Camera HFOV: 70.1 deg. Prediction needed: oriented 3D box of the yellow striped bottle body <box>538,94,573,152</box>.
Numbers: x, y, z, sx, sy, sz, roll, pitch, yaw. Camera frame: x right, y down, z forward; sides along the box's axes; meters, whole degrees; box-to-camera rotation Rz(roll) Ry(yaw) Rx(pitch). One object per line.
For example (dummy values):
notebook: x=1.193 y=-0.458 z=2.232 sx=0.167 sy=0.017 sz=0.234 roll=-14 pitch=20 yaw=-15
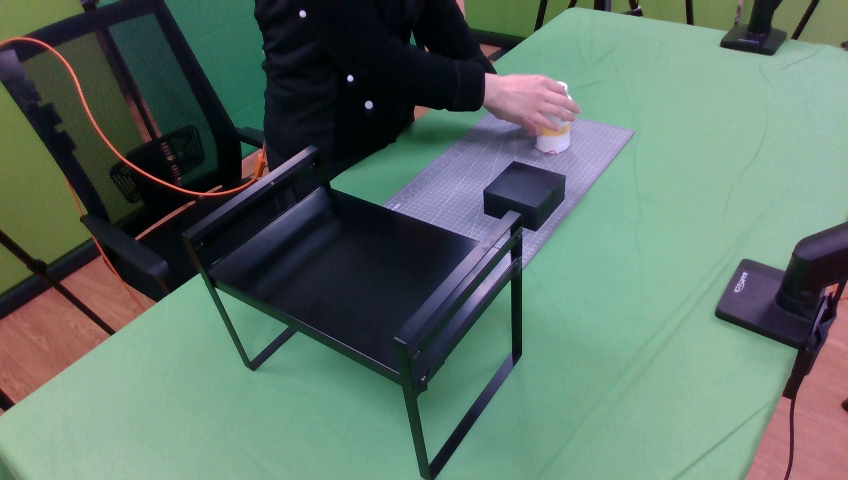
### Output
yellow striped bottle body: x=0.244 y=-0.230 z=1.127 sx=0.063 sy=0.121 sz=0.062 roll=-5 pitch=40 yaw=4

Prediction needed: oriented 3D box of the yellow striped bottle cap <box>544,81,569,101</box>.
yellow striped bottle cap: x=0.239 y=-0.270 z=1.092 sx=0.044 sy=0.019 sz=0.044 roll=-5 pitch=42 yaw=5
